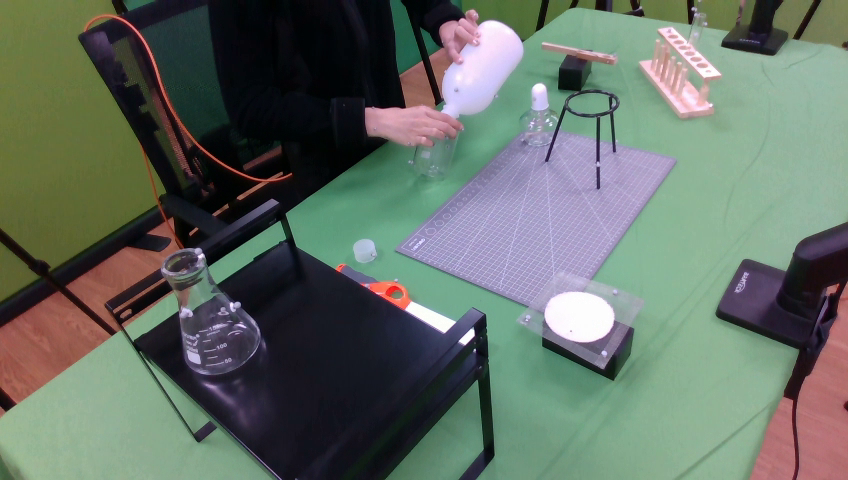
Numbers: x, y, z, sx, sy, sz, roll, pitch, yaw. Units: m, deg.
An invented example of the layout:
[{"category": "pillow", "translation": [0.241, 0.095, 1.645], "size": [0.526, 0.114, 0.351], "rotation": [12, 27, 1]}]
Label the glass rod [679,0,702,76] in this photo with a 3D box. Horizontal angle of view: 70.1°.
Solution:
[{"category": "glass rod", "translation": [0.543, -0.417, 1.233], "size": [0.008, 0.200, 0.008], "rotation": [1, 40, 0]}]

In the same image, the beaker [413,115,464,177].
[{"category": "beaker", "translation": [0.026, -0.171, 1.111], "size": [0.085, 0.100, 0.073], "rotation": [2, 22, -40]}]

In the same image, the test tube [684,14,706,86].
[{"category": "test tube", "translation": [0.540, -0.378, 1.215], "size": [0.017, 0.151, 0.017], "rotation": [-2, 44, 3]}]

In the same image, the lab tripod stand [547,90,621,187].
[{"category": "lab tripod stand", "translation": [0.289, -0.184, 1.062], "size": [0.148, 0.132, 0.147], "rotation": [-6, 41, 6]}]

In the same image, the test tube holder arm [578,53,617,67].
[{"category": "test tube holder arm", "translation": [0.376, -0.393, 1.314], "size": [0.087, 0.015, 0.010], "rotation": [26, 51, 32]}]

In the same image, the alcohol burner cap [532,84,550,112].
[{"category": "alcohol burner cap", "translation": [0.218, -0.269, 1.133], "size": [0.034, 0.048, 0.033], "rotation": [-8, 36, 7]}]

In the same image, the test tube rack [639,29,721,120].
[{"category": "test tube rack", "translation": [0.527, -0.351, 1.262], "size": [0.067, 0.085, 0.241], "rotation": [-8, 40, 1]}]

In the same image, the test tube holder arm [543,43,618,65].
[{"category": "test tube holder arm", "translation": [0.344, -0.413, 1.340], "size": [0.177, 0.015, 0.013], "rotation": [25, 51, 31]}]

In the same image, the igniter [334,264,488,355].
[{"category": "igniter", "translation": [-0.030, 0.095, 0.871], "size": [0.274, 0.025, 0.057], "rotation": [22, 59, 31]}]

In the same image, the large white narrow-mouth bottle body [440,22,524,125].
[{"category": "large white narrow-mouth bottle body", "translation": [0.094, -0.293, 1.105], "size": [0.101, 0.102, 0.194], "rotation": [30, 81, 36]}]

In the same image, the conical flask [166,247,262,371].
[{"category": "conical flask", "translation": [-0.208, 0.064, 0.584], "size": [0.075, 0.122, 0.075], "rotation": [-5, 40, 4]}]

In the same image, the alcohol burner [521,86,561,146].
[{"category": "alcohol burner", "translation": [0.223, -0.241, 1.155], "size": [0.078, 0.119, 0.077], "rotation": [-5, 43, 5]}]

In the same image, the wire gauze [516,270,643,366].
[{"category": "wire gauze", "translation": [0.200, 0.093, 0.777], "size": [0.124, 0.011, 0.122], "rotation": [23, 49, 32]}]

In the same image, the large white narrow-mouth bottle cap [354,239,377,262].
[{"category": "large white narrow-mouth bottle cap", "translation": [-0.095, 0.017, 0.981], "size": [0.038, 0.024, 0.037], "rotation": [-4, 40, 4]}]
